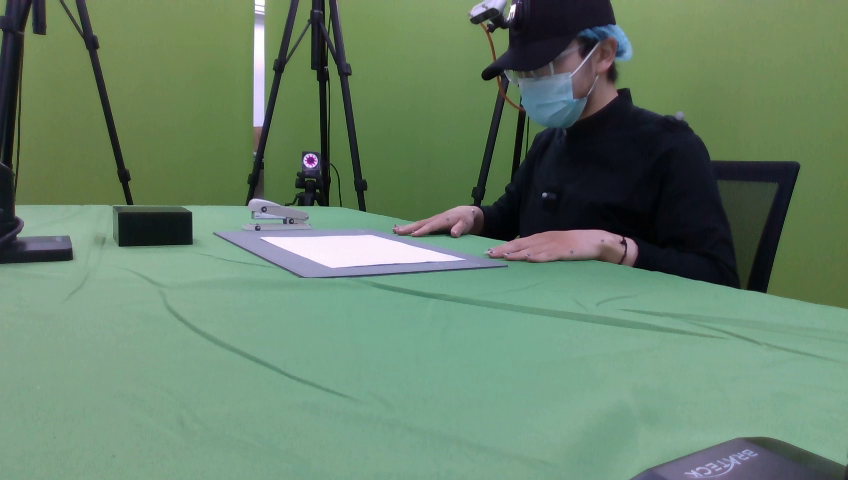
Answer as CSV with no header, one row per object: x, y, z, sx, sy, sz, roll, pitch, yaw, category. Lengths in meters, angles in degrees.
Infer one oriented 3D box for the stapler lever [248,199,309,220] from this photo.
-0.281,-0.058,1.169,0.119,0.040,0.026,-1,10,-37,stapler lever

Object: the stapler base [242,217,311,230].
-0.284,-0.033,1.170,0.131,0.024,0.041,-1,11,-37,stapler base
